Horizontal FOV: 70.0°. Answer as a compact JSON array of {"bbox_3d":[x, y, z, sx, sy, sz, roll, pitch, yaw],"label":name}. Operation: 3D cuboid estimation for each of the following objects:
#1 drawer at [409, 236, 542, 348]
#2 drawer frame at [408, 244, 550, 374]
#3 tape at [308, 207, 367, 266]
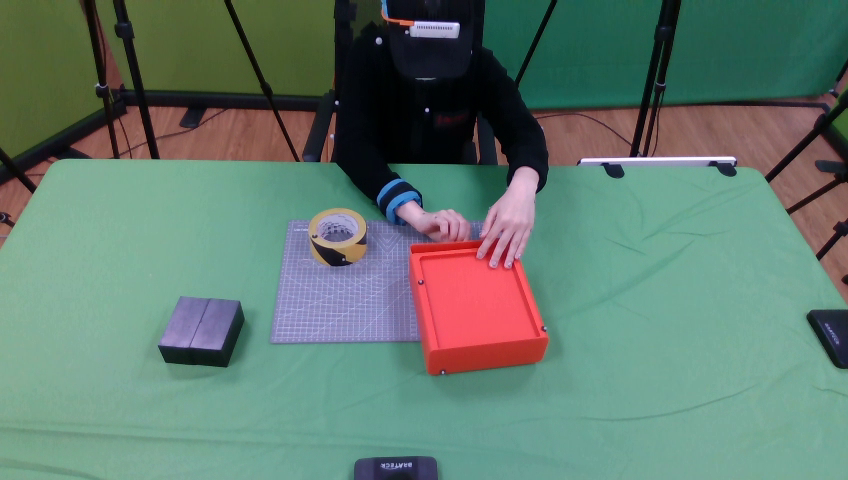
[{"bbox_3d":[0.083,0.097,1.064,0.195,0.073,0.210,-4,48,-9],"label":"drawer"},{"bbox_3d":[0.087,0.113,1.049,0.202,0.083,0.212,-5,48,-9],"label":"drawer frame"},{"bbox_3d":[-0.167,-0.008,1.167,0.117,0.053,0.116,3,46,-2],"label":"tape"}]
